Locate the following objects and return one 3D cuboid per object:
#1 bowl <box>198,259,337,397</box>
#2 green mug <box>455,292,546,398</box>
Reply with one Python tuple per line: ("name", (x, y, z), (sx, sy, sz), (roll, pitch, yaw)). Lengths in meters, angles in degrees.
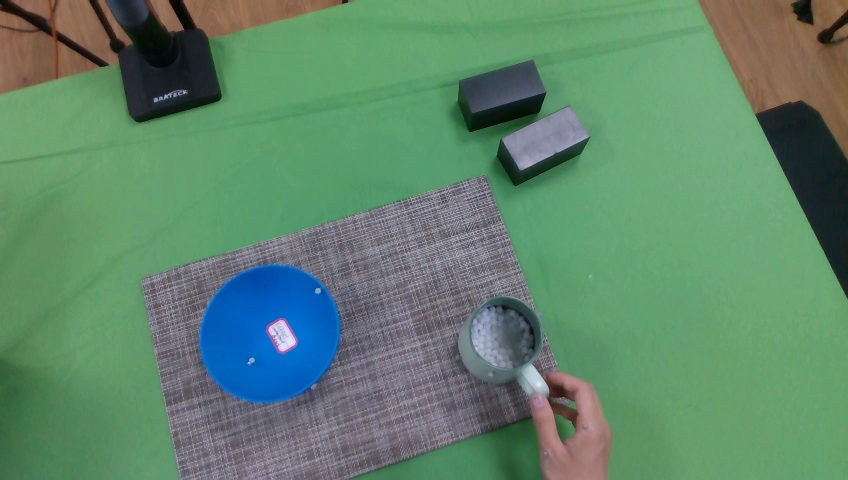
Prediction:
("bowl", (-0.168, 0.103, 0.688), (0.151, 0.077, 0.150), (0, 74, 0))
("green mug", (0.091, 0.119, 0.671), (0.092, 0.105, 0.124), (-34, 77, -9))
